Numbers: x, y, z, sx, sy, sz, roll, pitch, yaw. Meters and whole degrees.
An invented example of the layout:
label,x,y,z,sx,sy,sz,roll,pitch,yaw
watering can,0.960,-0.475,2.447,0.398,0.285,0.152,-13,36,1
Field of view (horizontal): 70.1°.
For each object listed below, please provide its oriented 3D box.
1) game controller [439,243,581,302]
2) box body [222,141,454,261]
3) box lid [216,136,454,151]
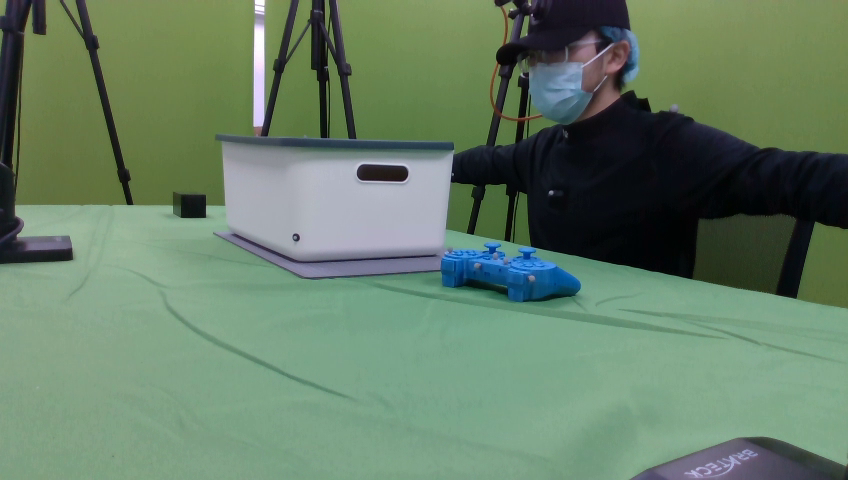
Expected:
label,x,y,z,sx,sy,sz,roll,pitch,yaw
game controller,0.090,0.033,0.686,0.154,0.051,0.097,8,13,42
box body,-0.152,-0.074,0.963,0.255,0.160,0.362,-3,9,-33
box lid,-0.151,-0.149,0.941,0.265,0.015,0.369,-4,10,-32
